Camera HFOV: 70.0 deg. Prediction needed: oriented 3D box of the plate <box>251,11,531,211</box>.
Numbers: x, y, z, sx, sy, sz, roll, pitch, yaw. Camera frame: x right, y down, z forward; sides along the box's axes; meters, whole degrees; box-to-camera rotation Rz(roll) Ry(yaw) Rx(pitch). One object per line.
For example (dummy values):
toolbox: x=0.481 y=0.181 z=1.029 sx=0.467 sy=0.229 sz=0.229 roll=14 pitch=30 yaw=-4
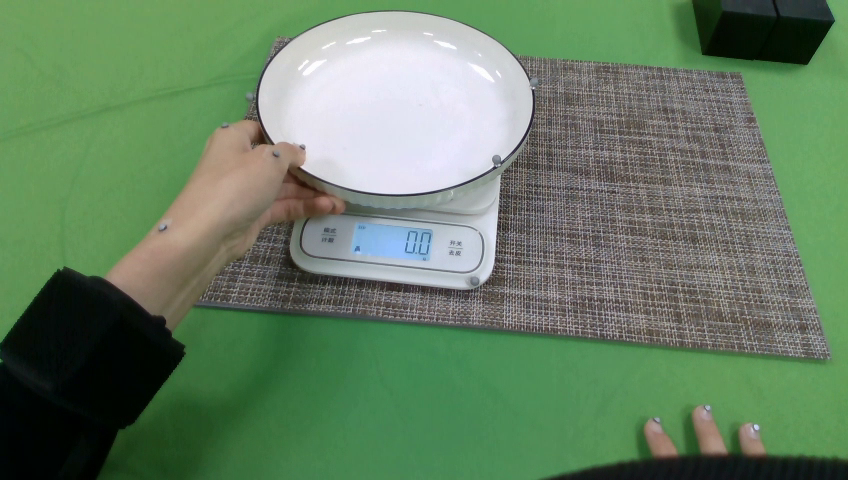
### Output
plate: x=-0.023 y=-0.100 z=0.465 sx=0.208 sy=0.039 sz=0.205 roll=1 pitch=54 yaw=-2

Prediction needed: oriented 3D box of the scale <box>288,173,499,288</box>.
scale: x=-0.015 y=-0.058 z=0.475 sx=0.148 sy=0.032 sz=0.199 roll=6 pitch=55 yaw=3
